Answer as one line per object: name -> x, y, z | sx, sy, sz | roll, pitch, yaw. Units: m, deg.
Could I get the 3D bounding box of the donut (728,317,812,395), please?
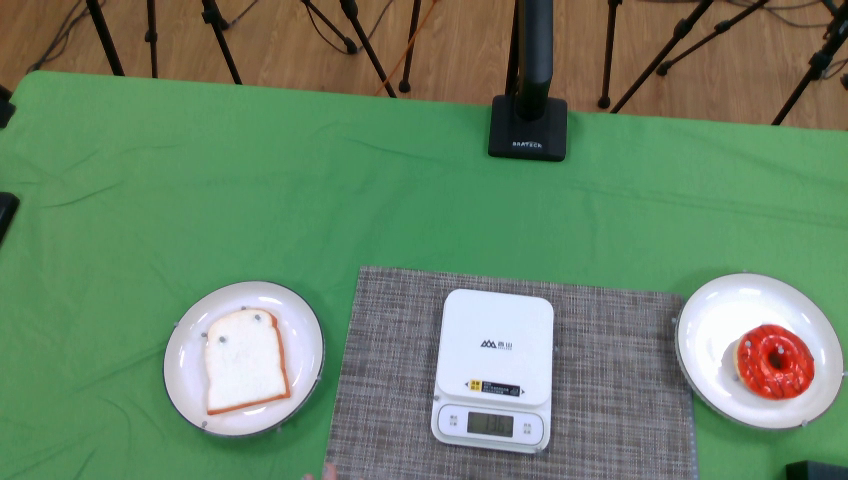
donut -> 0.438, 0.147, 0.768 | 0.099, 0.048, 0.098 | 0, 69, 0

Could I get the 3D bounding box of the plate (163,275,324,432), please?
plate -> -0.234, 0.148, 0.802 | 0.209, 0.038, 0.207 | -1, 66, 2

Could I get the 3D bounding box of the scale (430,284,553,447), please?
scale -> 0.090, 0.158, 0.786 | 0.148, 0.032, 0.199 | 5, 66, 5

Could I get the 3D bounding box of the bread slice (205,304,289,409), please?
bread slice -> -0.240, 0.149, 0.803 | 0.105, 0.019, 0.130 | -13, 64, -5

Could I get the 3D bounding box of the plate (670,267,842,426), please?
plate -> 0.423, 0.137, 0.786 | 0.207, 0.039, 0.206 | -1, 65, 1
